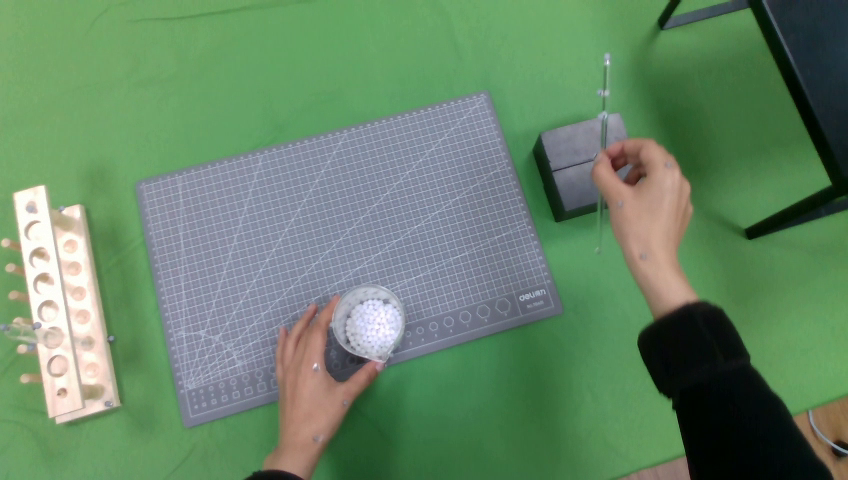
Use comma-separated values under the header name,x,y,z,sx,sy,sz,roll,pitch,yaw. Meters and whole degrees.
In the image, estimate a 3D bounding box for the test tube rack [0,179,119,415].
name,x,y,z,sx,sy,sz,roll,pitch,yaw
test tube rack,-0.407,0.064,0.660,0.067,0.085,0.241,-16,79,-5

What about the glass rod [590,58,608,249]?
name,x,y,z,sx,sy,sz,roll,pitch,yaw
glass rod,0.170,-0.077,0.593,0.008,0.008,0.201,-8,121,-3

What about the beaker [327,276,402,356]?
name,x,y,z,sx,sy,sz,roll,pitch,yaw
beaker,-0.058,0.088,0.657,0.074,0.100,0.083,-21,79,-6

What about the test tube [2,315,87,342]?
name,x,y,z,sx,sy,sz,roll,pitch,yaw
test tube,-0.373,0.090,0.605,0.017,0.150,0.017,2,77,-7
